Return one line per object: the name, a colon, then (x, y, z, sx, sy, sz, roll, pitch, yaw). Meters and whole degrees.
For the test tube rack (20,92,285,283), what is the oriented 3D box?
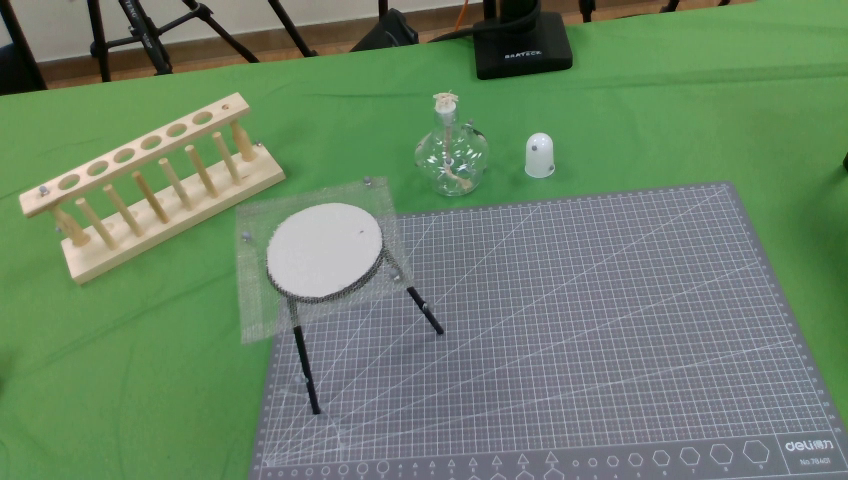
test tube rack: (-0.282, -0.059, 0.652, 0.242, 0.086, 0.066, -31, 52, -15)

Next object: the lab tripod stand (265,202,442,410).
lab tripod stand: (-0.065, 0.049, 0.489, 0.148, 0.133, 0.147, -4, 52, 6)

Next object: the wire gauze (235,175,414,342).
wire gauze: (-0.076, 0.005, 0.439, 0.121, 0.011, 0.123, -15, 51, -2)

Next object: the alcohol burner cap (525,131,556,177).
alcohol burner cap: (0.123, -0.093, 0.639, 0.034, 0.048, 0.033, -6, 50, 7)

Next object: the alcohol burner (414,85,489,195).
alcohol burner: (0.026, -0.105, 0.618, 0.078, 0.120, 0.077, -5, 48, 6)
